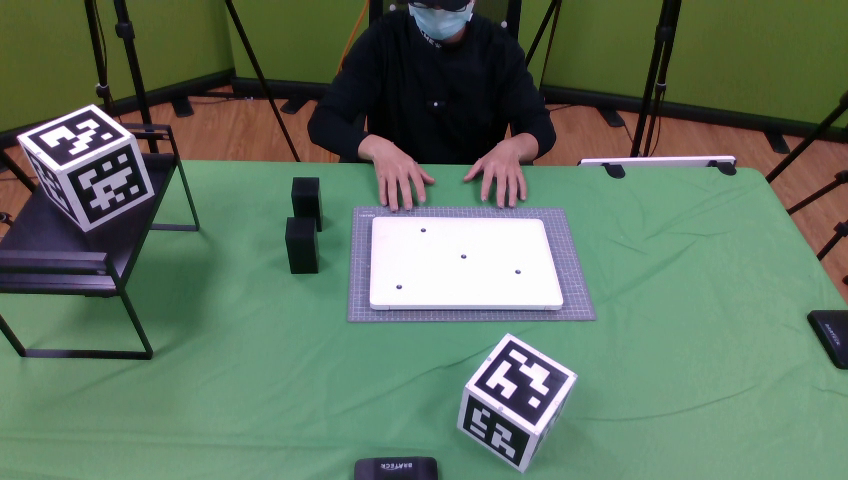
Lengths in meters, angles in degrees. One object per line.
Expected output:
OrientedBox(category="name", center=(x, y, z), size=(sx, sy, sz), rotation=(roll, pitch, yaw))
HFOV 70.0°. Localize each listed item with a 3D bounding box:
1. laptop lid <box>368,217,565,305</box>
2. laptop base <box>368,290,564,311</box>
OrientedBox(category="laptop lid", center=(0.074, 0.034, 1.152), size=(0.357, 0.013, 0.240), rotation=(2, 44, -2))
OrientedBox(category="laptop base", center=(0.074, 0.044, 1.160), size=(0.354, 0.023, 0.234), rotation=(0, 43, -3))
